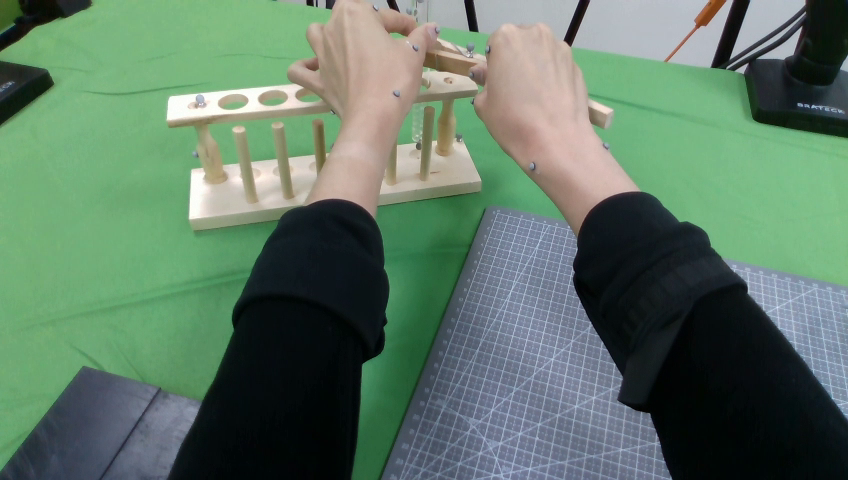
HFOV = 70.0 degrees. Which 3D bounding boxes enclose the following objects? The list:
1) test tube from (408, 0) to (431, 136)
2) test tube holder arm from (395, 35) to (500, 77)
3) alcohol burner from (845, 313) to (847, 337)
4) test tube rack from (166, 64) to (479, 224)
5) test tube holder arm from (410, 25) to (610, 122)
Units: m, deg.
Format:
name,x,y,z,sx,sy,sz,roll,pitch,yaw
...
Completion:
name,x,y,z,sx,sy,sz,roll,pitch,yaw
test tube,-0.004,-0.148,0.483,0.017,0.151,0.017,2,44,-1
test tube holder arm,0.018,-0.141,0.462,0.087,0.015,0.010,18,49,18
alcohol burner,0.327,0.032,0.386,0.078,0.120,0.077,2,45,-2
test tube rack,-0.076,-0.083,0.503,0.243,0.086,0.066,-9,47,-11
test tube holder arm,0.057,-0.126,0.446,0.177,0.015,0.013,31,55,28
